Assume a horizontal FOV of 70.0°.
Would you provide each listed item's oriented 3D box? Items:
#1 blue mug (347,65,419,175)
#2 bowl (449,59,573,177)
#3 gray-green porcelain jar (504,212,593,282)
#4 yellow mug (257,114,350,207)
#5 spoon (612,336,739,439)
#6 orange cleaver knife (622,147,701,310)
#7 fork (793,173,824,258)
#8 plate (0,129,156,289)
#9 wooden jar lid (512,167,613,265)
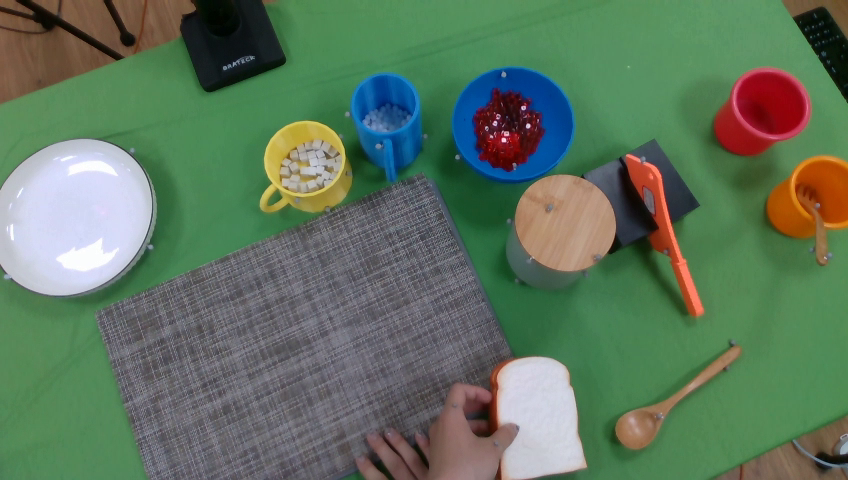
[{"bbox_3d":[-0.047,-0.139,0.756,0.082,0.106,0.116,-3,76,0],"label":"blue mug"},{"bbox_3d":[0.106,-0.142,0.769,0.151,0.077,0.150,0,77,1],"label":"bowl"},{"bbox_3d":[0.150,-0.009,0.712,0.106,0.127,0.105,0,76,0],"label":"gray-green porcelain jar"},{"bbox_3d":[-0.159,-0.089,0.765,0.131,0.064,0.099,-44,79,-8],"label":"yellow mug"},{"bbox_3d":[0.303,0.172,0.720,0.194,0.022,0.041,-34,60,-7],"label":"spoon"},{"bbox_3d":[0.286,-0.014,0.734,0.012,0.077,0.212,-25,104,-5],"label":"orange cleaver knife"},{"bbox_3d":[0.449,-0.032,0.702,0.028,0.019,0.207,40,36,2],"label":"fork"},{"bbox_3d":[-0.441,-0.038,0.770,0.208,0.039,0.206,0,77,1],"label":"plate"},{"bbox_3d":[0.148,-0.025,0.651,0.108,0.021,0.108,1,78,-2],"label":"wooden jar lid"}]
